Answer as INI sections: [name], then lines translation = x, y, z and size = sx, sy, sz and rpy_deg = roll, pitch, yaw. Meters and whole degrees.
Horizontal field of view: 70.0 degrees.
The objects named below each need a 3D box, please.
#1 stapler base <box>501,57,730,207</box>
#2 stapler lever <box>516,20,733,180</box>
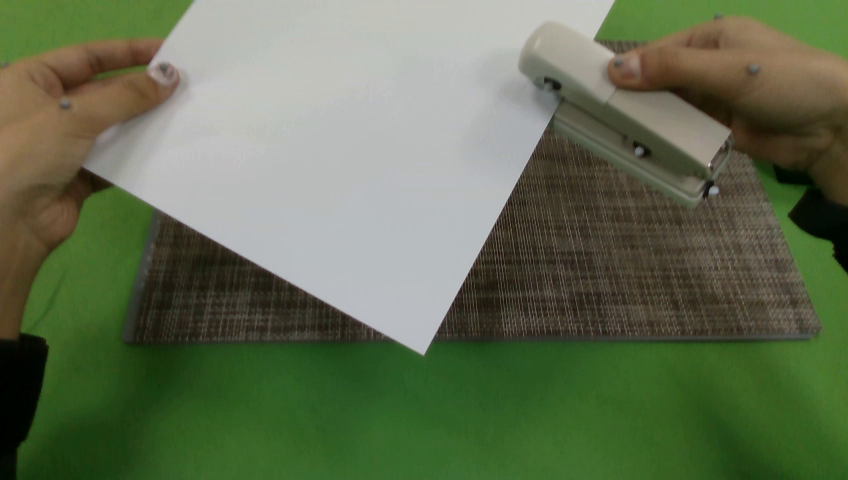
[stapler base]
translation = 0.103, -0.070, 0.332
size = 0.130, 0.024, 0.041
rpy_deg = 34, 85, 13
[stapler lever]
translation = 0.101, -0.075, 0.313
size = 0.117, 0.040, 0.027
rpy_deg = 34, 85, 19
